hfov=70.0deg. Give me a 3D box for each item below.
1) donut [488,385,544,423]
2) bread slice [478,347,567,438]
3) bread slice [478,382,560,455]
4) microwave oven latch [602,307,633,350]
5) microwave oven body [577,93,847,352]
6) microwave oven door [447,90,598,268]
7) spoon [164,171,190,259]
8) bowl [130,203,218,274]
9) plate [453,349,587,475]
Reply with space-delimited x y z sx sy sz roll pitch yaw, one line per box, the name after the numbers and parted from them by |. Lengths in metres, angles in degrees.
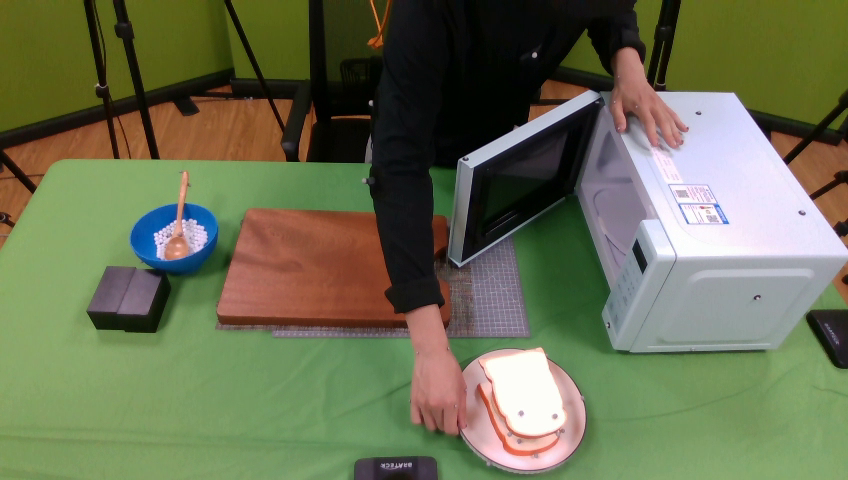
0.147 0.241 0.928 0.099 0.048 0.098 -3 41 3 | donut
0.152 0.227 0.901 0.107 0.018 0.133 -11 54 -16 | bread slice
0.154 0.268 0.943 0.105 0.019 0.130 -10 47 -12 | bread slice
0.332 0.153 1.044 0.030 0.029 0.078 0 45 -4 | microwave oven latch
0.475 -0.042 1.109 0.326 0.261 0.438 -1 45 -4 | microwave oven body
0.192 -0.120 1.157 0.356 0.245 0.039 -31 55 -30 | microwave oven door
-0.452 -0.046 1.129 0.041 0.022 0.193 -1 69 -3 | spoon
-0.451 0.009 1.116 0.151 0.077 0.150 3 45 -3 | bowl
0.147 0.267 0.943 0.208 0.039 0.206 3 46 -3 | plate
